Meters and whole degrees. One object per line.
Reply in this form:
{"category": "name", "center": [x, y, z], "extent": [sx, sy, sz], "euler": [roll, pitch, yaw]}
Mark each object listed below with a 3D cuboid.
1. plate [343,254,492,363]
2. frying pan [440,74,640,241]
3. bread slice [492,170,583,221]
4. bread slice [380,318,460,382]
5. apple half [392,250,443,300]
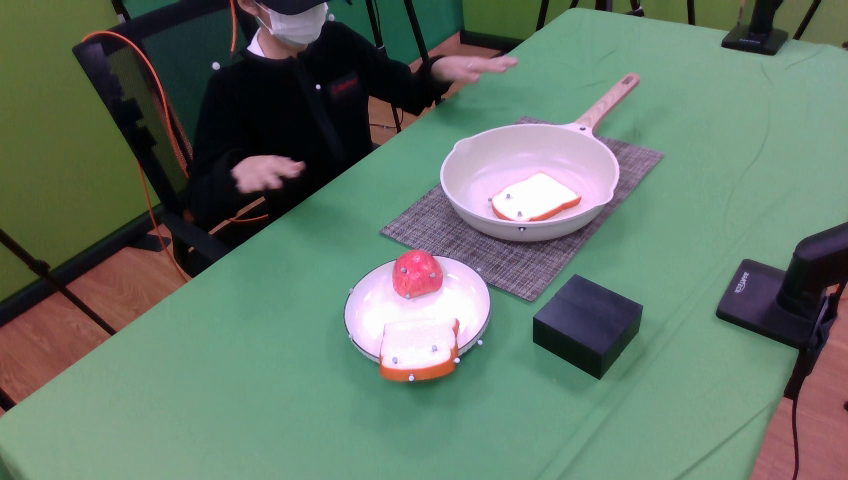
{"category": "plate", "center": [-0.008, 0.100, 0.847], "extent": [0.207, 0.039, 0.206], "euler": [-4, 40, 4]}
{"category": "frying pan", "center": [0.245, -0.161, 1.058], "extent": [0.304, 0.103, 0.489], "euler": [30, 61, 35]}
{"category": "bread slice", "center": [0.183, -0.066, 1.015], "extent": [0.135, 0.018, 0.106], "euler": [-28, 43, -23]}
{"category": "bread slice", "center": [-0.005, 0.137, 0.770], "extent": [0.105, 0.019, 0.131], "euler": [-6, 19, 4]}
{"category": "apple half", "center": [-0.013, 0.046, 0.883], "extent": [0.081, 0.033, 0.081], "euler": [0, 65, 1]}
